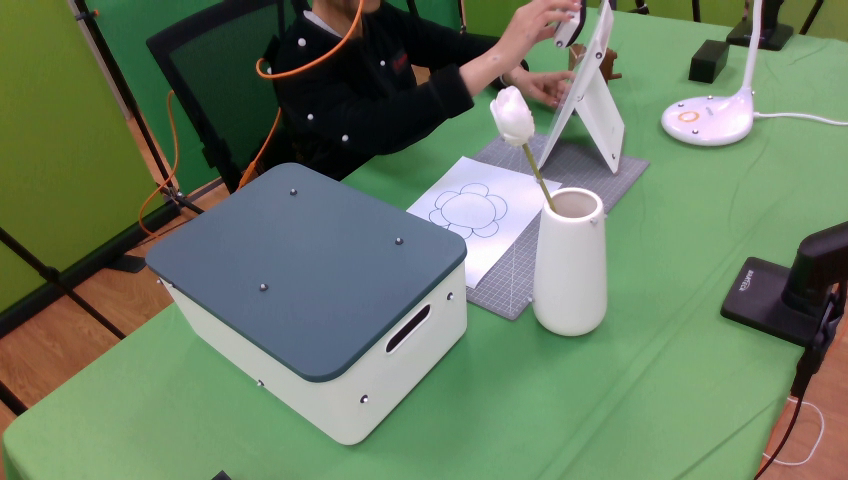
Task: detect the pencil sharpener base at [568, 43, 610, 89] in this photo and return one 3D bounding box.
[{"bbox_3d":[0.345,-0.352,1.263,0.077,0.107,0.061,-8,40,1],"label":"pencil sharpener base"}]

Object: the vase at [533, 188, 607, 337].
[{"bbox_3d":[0.187,0.033,0.771,0.098,0.201,0.097,-6,41,6],"label":"vase"}]

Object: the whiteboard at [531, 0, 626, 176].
[{"bbox_3d":[0.320,-0.258,1.050,0.144,0.306,0.217,22,45,5],"label":"whiteboard"}]

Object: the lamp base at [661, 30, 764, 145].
[{"bbox_3d":[0.535,-0.287,1.096,0.179,0.181,0.159,-10,40,-4],"label":"lamp base"}]

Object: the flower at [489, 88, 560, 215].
[{"bbox_3d":[0.159,-0.028,0.720,0.038,0.364,0.044,-14,44,23],"label":"flower"}]

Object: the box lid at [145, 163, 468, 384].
[{"bbox_3d":[-0.157,0.014,0.769,0.368,0.015,0.264,25,51,33],"label":"box lid"}]

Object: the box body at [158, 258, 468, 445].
[{"bbox_3d":[-0.147,0.072,0.816,0.361,0.161,0.255,24,50,33],"label":"box body"}]

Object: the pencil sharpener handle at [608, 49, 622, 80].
[{"bbox_3d":[0.394,-0.367,1.253,0.030,0.068,0.036,-8,32,1],"label":"pencil sharpener handle"}]

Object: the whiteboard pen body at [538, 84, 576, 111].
[{"bbox_3d":[0.278,-0.309,1.290,0.017,0.017,0.139,-25,47,-18],"label":"whiteboard pen body"}]

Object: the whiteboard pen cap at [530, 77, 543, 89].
[{"bbox_3d":[0.248,-0.344,1.328,0.018,0.018,0.033,-24,50,-17],"label":"whiteboard pen cap"}]

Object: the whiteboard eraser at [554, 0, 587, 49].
[{"bbox_3d":[0.244,-0.370,1.000,0.042,0.055,0.112,21,53,-10],"label":"whiteboard eraser"}]
